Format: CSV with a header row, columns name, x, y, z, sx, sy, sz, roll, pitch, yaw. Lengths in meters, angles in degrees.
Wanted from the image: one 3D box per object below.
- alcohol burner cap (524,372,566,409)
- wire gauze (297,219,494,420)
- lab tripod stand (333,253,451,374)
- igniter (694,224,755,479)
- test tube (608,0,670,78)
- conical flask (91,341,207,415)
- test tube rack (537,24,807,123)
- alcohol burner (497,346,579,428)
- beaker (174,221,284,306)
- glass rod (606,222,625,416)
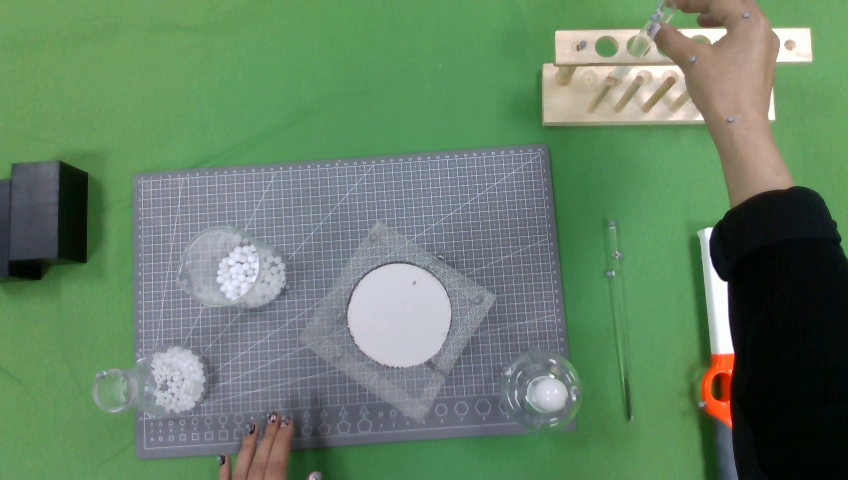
name,x,y,z,sx,sy,sz,roll,pitch,yaw
alcohol burner cap,0.108,0.131,0.530,0.034,0.048,0.033,0,76,-1
wire gauze,-0.024,0.063,0.501,0.125,0.011,0.121,33,86,5
lab tripod stand,-0.024,0.070,0.567,0.148,0.132,0.148,0,84,3
igniter,0.300,0.120,0.610,0.057,0.025,0.275,0,83,-9
test tube,0.199,-0.185,0.572,0.017,0.150,0.017,0,84,3
conical flask,-0.261,0.134,0.570,0.075,0.122,0.075,0,82,1
test tube rack,0.244,-0.167,0.618,0.242,0.085,0.066,-1,82,2
alcohol burner,0.108,0.138,0.566,0.078,0.119,0.077,-1,82,4
beaker,-0.185,0.029,0.594,0.084,0.100,0.073,-20,82,-1
glass rod,0.198,0.080,0.626,0.008,0.008,0.199,-3,85,1
